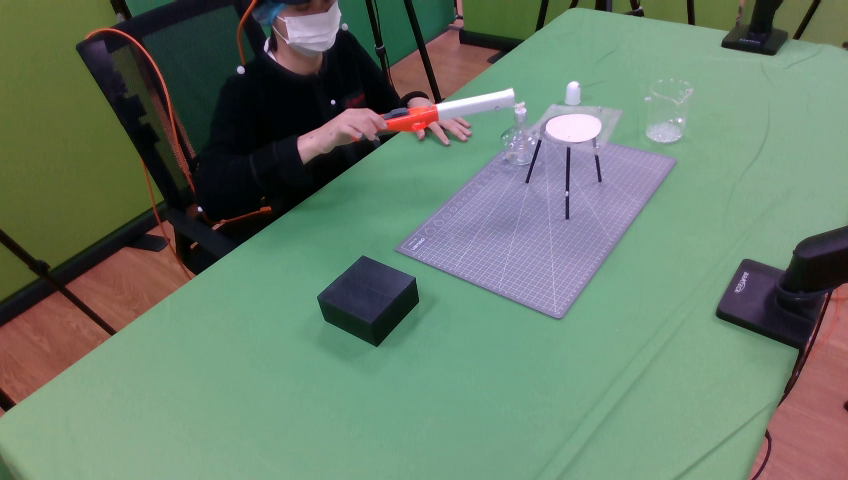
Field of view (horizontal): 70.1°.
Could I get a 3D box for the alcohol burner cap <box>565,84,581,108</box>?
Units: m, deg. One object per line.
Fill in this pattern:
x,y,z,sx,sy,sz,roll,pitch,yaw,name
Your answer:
0.315,-0.307,1.278,0.034,0.048,0.033,-5,42,5,alcohol burner cap

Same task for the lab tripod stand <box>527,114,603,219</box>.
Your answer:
0.234,-0.129,1.002,0.148,0.132,0.147,-6,40,6,lab tripod stand

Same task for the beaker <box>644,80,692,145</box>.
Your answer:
0.451,-0.233,1.122,0.074,0.101,0.083,-8,40,1,beaker

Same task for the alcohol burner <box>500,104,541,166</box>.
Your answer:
0.178,-0.196,1.106,0.078,0.119,0.077,-5,42,5,alcohol burner

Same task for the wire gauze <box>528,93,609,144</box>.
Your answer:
0.225,-0.188,0.943,0.121,0.011,0.124,6,48,9,wire gauze

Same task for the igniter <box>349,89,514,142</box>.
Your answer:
0.009,-0.203,0.991,0.276,0.057,0.025,-12,64,2,igniter
